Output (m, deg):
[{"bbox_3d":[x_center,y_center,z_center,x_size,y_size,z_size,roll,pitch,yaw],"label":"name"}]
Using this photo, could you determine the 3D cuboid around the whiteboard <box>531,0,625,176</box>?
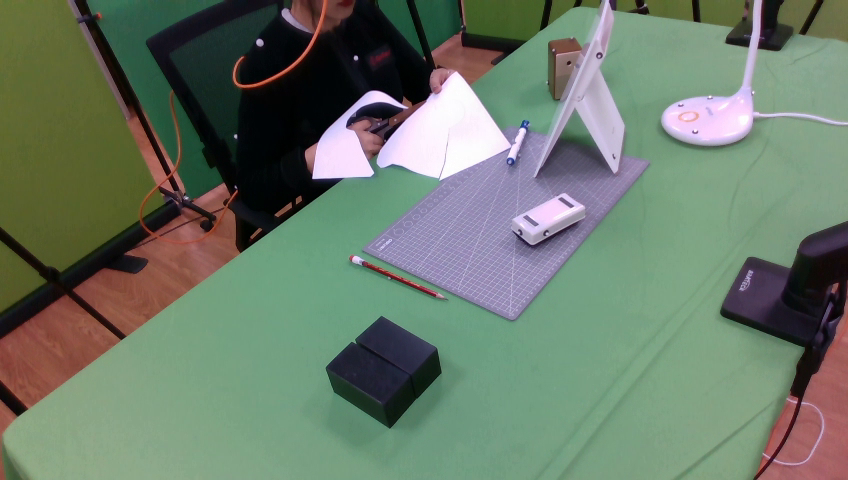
[{"bbox_3d":[0.320,-0.258,1.050,0.144,0.306,0.217,22,45,5],"label":"whiteboard"}]

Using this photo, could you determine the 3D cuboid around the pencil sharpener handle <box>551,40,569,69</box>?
[{"bbox_3d":[0.291,-0.409,1.320,0.036,0.068,0.030,2,40,-6],"label":"pencil sharpener handle"}]

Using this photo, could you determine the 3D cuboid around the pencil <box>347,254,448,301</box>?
[{"bbox_3d":[-0.044,0.058,0.933,0.192,0.012,0.012,22,49,28],"label":"pencil"}]

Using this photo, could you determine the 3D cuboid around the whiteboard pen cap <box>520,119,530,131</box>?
[{"bbox_3d":[0.199,-0.226,1.204,0.018,0.018,0.033,7,41,18],"label":"whiteboard pen cap"}]

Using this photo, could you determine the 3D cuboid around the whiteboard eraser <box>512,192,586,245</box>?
[{"bbox_3d":[0.199,-0.032,0.962,0.113,0.042,0.055,-27,43,-20],"label":"whiteboard eraser"}]

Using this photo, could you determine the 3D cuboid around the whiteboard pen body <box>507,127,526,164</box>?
[{"bbox_3d":[0.181,-0.189,1.162,0.017,0.017,0.140,7,42,19],"label":"whiteboard pen body"}]

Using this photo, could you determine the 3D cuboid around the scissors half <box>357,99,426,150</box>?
[{"bbox_3d":[-0.066,-0.240,1.252,0.175,0.040,0.012,-35,25,17],"label":"scissors half"}]

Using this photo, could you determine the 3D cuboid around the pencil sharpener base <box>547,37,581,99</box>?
[{"bbox_3d":[0.299,-0.368,1.290,0.061,0.107,0.076,-8,40,2],"label":"pencil sharpener base"}]

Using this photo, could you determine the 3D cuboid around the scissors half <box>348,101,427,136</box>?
[{"bbox_3d":[-0.076,-0.256,1.242,0.175,0.040,0.013,-16,34,6],"label":"scissors half"}]

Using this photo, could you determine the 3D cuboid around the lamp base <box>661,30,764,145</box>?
[{"bbox_3d":[0.535,-0.287,1.096,0.179,0.181,0.159,-10,40,-4],"label":"lamp base"}]
